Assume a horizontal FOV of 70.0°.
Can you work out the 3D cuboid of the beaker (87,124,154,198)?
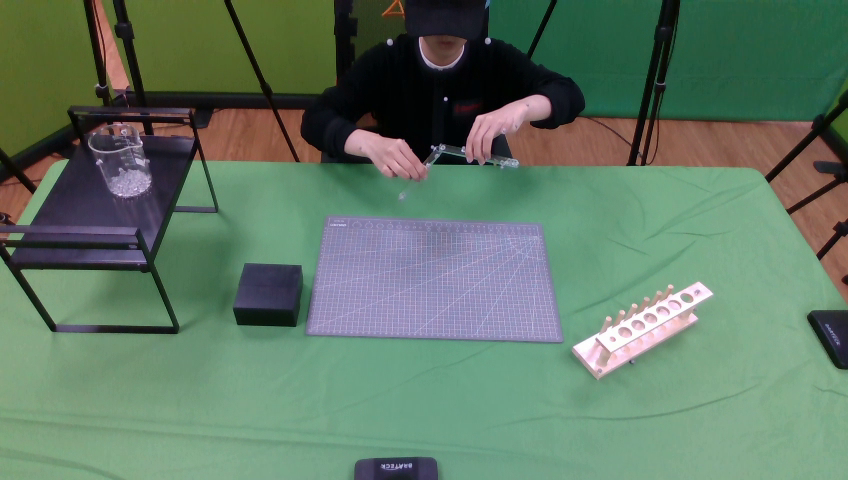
[{"bbox_3d":[-0.482,-0.124,0.978,0.084,0.101,0.073,9,46,4],"label":"beaker"}]

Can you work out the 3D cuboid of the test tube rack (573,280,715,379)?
[{"bbox_3d":[0.378,0.140,1.038,0.242,0.085,0.066,-22,51,-23],"label":"test tube rack"}]

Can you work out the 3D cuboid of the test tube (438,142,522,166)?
[{"bbox_3d":[0.099,-0.153,1.077,0.150,0.017,0.017,12,47,8],"label":"test tube"}]

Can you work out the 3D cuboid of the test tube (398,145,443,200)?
[{"bbox_3d":[-0.009,-0.123,1.139,0.017,0.150,0.017,20,46,-22],"label":"test tube"}]
